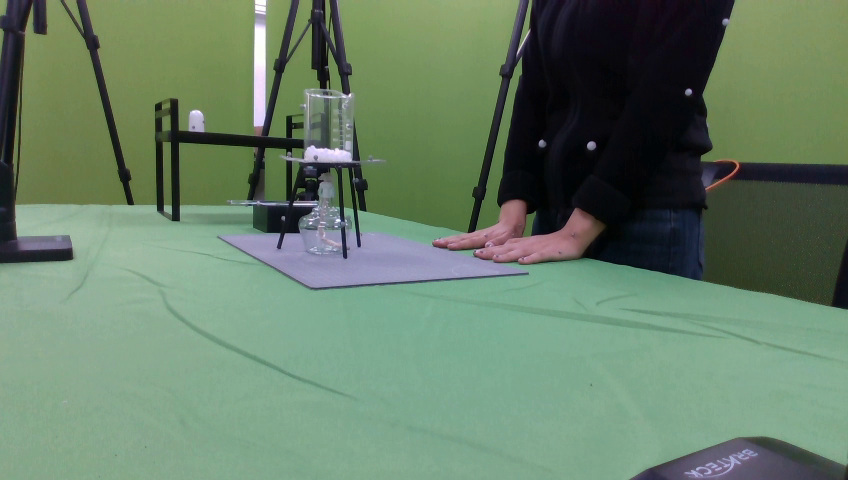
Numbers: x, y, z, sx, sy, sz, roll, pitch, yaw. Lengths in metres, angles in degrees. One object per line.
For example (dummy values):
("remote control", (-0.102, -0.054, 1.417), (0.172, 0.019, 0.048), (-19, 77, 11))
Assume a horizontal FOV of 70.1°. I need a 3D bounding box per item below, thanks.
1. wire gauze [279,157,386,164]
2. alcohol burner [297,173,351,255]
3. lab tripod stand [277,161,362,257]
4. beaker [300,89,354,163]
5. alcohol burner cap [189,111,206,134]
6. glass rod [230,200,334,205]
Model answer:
("wire gauze", (-0.134, -0.113, 0.875), (0.122, 0.011, 0.124), (-1, 6, -30))
("alcohol burner", (-0.144, -0.038, 0.880), (0.078, 0.119, 0.078), (4, 6, 0))
("lab tripod stand", (-0.143, -0.049, 0.884), (0.148, 0.131, 0.148), (1, 9, 0))
("beaker", (-0.137, -0.161, 0.869), (0.083, 0.100, 0.074), (9, 10, 42))
("alcohol burner cap", (-0.469, -0.244, 1.252), (0.034, 0.048, 0.034), (2, 7, 0))
("glass rod", (-0.265, -0.070, 1.144), (0.201, 0.008, 0.008), (-1, 8, -31))
